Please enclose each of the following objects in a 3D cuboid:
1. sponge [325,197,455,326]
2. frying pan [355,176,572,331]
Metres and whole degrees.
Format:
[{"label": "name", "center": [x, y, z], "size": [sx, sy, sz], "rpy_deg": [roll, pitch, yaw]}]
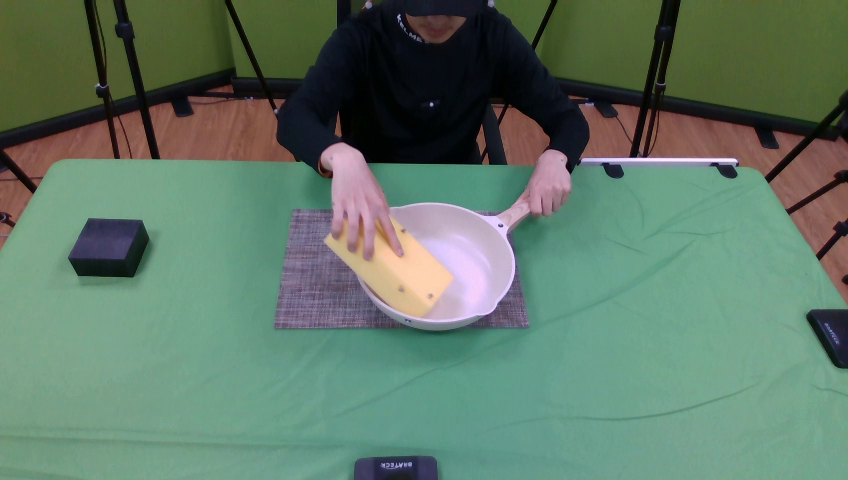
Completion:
[{"label": "sponge", "center": [-0.055, 0.034, 1.040], "size": [0.207, 0.061, 0.118], "rpy_deg": [45, 33, -2]}, {"label": "frying pan", "center": [0.102, -0.001, 1.142], "size": [0.488, 0.103, 0.305], "rpy_deg": [-31, 56, -19]}]
